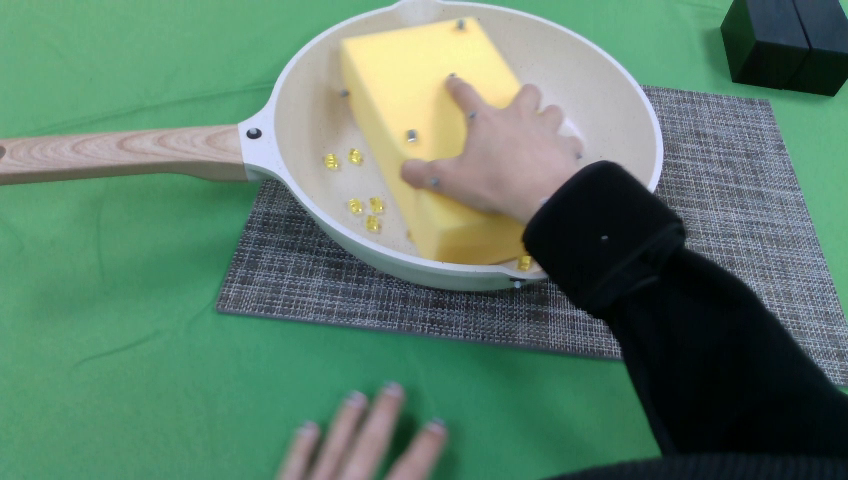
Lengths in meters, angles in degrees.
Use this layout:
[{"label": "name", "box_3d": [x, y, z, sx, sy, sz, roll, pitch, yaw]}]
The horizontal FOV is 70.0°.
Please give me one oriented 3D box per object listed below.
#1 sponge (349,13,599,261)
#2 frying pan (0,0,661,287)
[{"label": "sponge", "box_3d": [0.028, -0.085, 0.472, 0.118, 0.061, 0.204, -16, 57, -15]}, {"label": "frying pan", "box_3d": [-0.070, -0.073, 0.442, 0.490, 0.103, 0.303, -5, 53, -18]}]
